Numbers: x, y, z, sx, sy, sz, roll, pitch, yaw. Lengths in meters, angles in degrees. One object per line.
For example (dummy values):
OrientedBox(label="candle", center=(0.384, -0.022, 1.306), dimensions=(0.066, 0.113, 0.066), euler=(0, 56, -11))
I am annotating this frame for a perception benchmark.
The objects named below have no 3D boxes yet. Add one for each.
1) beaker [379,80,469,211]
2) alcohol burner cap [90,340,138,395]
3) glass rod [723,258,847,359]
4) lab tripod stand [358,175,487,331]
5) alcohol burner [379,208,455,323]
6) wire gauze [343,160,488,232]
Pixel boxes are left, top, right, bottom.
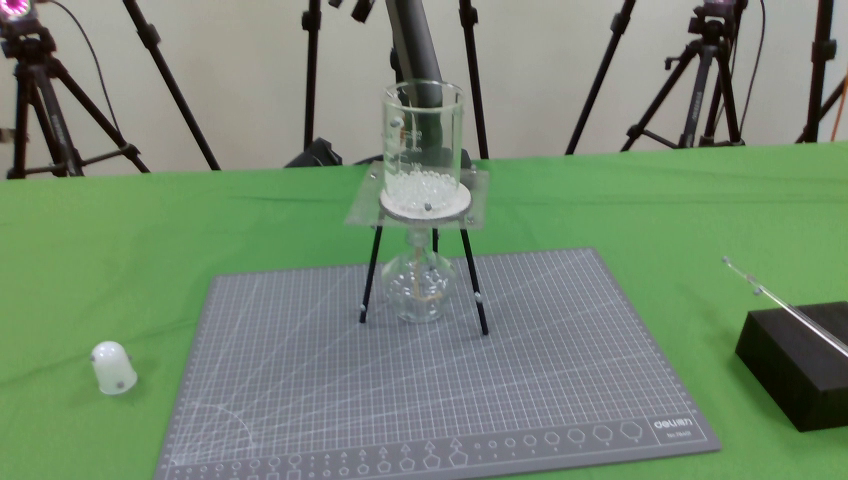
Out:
OrientedBox(label="beaker", center=(-0.004, -0.084, 0.543), dimensions=(0.083, 0.101, 0.074), euler=(27, 41, 33))
OrientedBox(label="alcohol burner cap", center=(-0.280, 0.112, 0.543), dimensions=(0.034, 0.048, 0.033), euler=(0, 33, 1))
OrientedBox(label="glass rod", center=(0.340, 0.071, 0.545), dimensions=(0.008, 0.008, 0.197), euler=(-11, 35, -15))
OrientedBox(label="lab tripod stand", center=(0.004, 0.013, 0.604), dimensions=(0.148, 0.132, 0.147), euler=(2, 33, -1))
OrientedBox(label="alcohol burner", center=(-0.007, 0.023, 0.608), dimensions=(0.078, 0.120, 0.077), euler=(-1, 32, 1))
OrientedBox(label="wire gauze", center=(-0.003, -0.042, 0.568), dimensions=(0.121, 0.011, 0.124), euler=(4, 36, 7))
